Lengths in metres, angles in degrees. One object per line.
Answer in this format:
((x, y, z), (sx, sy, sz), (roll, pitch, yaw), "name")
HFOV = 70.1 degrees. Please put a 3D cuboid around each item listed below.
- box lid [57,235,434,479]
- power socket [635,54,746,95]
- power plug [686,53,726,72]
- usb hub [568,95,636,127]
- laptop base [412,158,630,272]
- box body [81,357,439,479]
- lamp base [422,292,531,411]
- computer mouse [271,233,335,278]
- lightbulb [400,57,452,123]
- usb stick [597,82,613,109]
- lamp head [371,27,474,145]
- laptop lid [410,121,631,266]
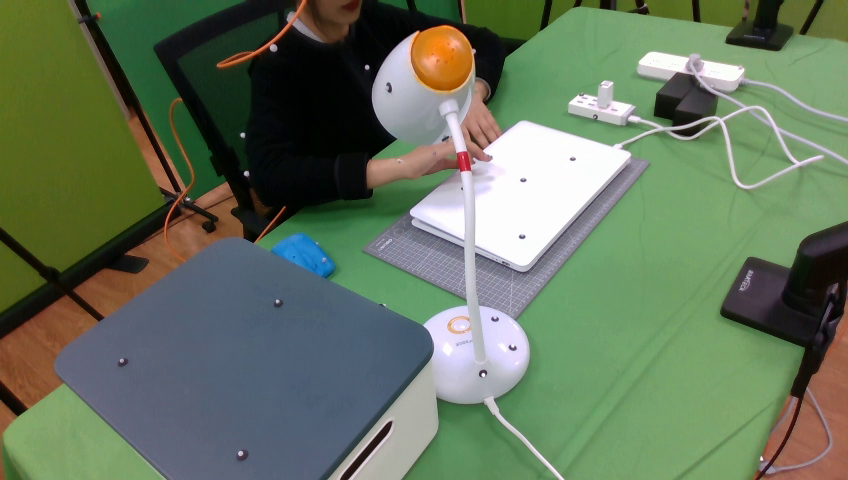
((-0.198, 0.123, 0.653), (0.368, 0.015, 0.264), (22, 49, 32), "box lid")
((0.564, -0.357, 1.293), (0.225, 0.033, 0.072), (24, 51, 33), "power socket")
((0.584, -0.361, 1.260), (0.072, 0.053, 0.035), (14, 55, 16), "power plug")
((0.360, -0.263, 1.228), (0.124, 0.025, 0.049), (25, 49, 34), "usb hub")
((0.175, -0.083, 1.055), (0.233, 0.023, 0.355), (21, 49, 35), "laptop base")
((-0.189, 0.178, 0.702), (0.361, 0.161, 0.255), (22, 49, 32), "box body")
((0.054, 0.095, 0.740), (0.161, 0.181, 0.177), (-19, 43, -11), "lamp base")
((-0.198, 0.029, 0.981), (0.063, 0.041, 0.116), (-31, 48, -27), "computer mouse")
((0.003, -0.169, 0.669), (0.059, 0.108, 0.059), (0, 79, -2), "lightbulb")
((0.360, -0.281, 1.204), (0.021, 0.059, 0.027), (24, 49, 33), "usb stick")
((0.007, -0.167, 0.644), (0.113, 0.112, 0.122), (-22, 2, -14), "lamp head")
((0.172, -0.099, 1.043), (0.239, 0.013, 0.358), (27, 51, 32), "laptop lid")
